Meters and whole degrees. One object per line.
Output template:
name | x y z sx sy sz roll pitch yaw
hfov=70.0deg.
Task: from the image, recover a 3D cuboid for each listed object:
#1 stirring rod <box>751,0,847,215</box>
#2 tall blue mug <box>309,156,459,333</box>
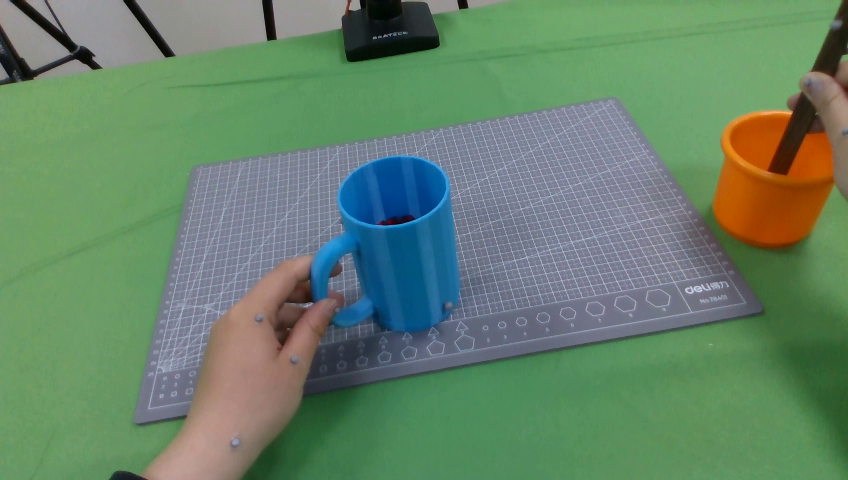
stirring rod | 0.261 -0.090 0.414 0.006 0.177 0.014 -31 49 -32
tall blue mug | -0.022 0.015 0.428 0.077 0.109 0.106 13 48 20
